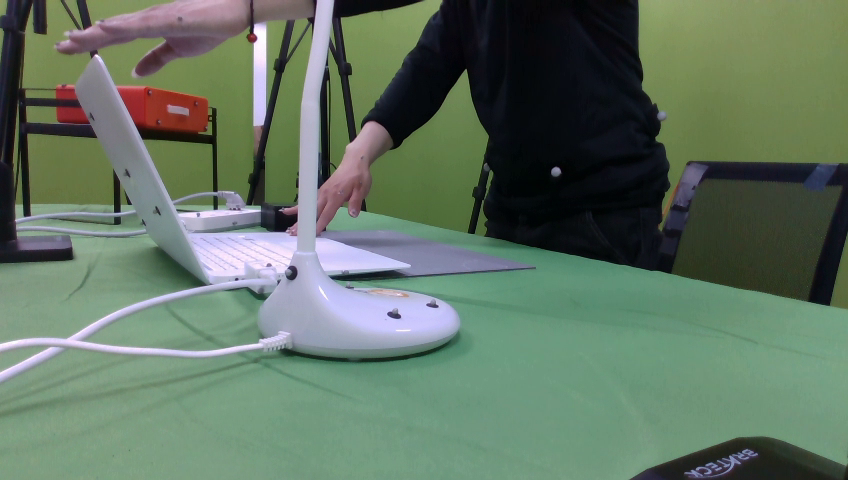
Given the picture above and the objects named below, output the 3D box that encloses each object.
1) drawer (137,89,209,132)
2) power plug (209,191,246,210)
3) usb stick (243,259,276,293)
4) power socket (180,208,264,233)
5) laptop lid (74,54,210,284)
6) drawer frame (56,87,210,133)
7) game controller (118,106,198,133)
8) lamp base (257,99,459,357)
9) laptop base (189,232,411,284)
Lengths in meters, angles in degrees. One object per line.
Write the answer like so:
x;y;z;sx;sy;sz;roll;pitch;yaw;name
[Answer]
-0.595;-0.268;1.263;0.211;0.073;0.195;3;8;15;drawer
-0.388;-0.071;1.204;0.072;0.052;0.035;4;8;25;power plug
-0.166;0.035;0.604;0.021;0.027;0.059;-9;8;-28;usb stick
-0.381;-0.038;1.128;0.072;0.032;0.227;4;8;16;power socket
-0.341;-0.079;0.704;0.013;0.242;0.355;-30;23;-26;laptop lid
-0.598;-0.269;1.261;0.213;0.082;0.202;4;8;14;drawer frame
-0.555;-0.251;1.255;0.097;0.051;0.155;9;12;18;game controller
-0.055;-0.013;0.463;0.160;0.180;0.180;6;11;27;lamp base
-0.204;0.019;0.807;0.237;0.023;0.352;1;7;-33;laptop base
